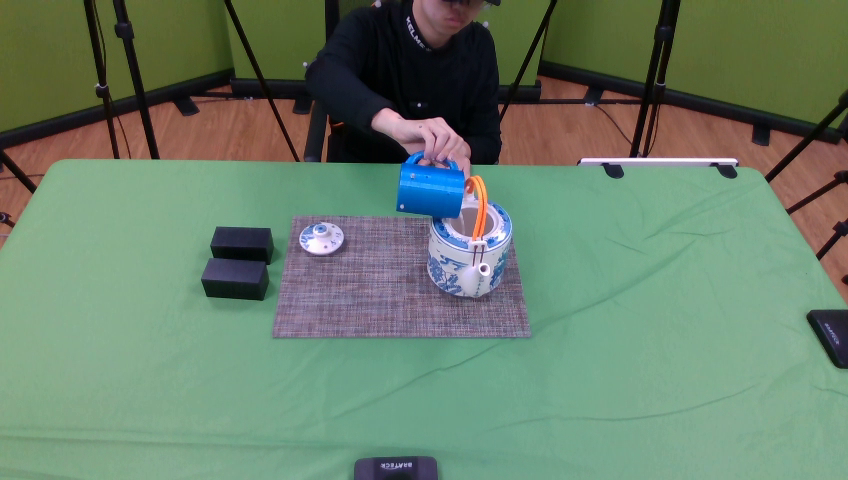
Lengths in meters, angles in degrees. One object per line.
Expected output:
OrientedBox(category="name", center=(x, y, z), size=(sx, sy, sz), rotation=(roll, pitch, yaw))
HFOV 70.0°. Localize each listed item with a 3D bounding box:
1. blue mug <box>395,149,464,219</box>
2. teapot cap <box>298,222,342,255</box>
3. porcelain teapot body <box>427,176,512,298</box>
OrientedBox(category="blue mug", center=(0.010, -0.098, 1.014), size=(0.106, 0.082, 0.116), rotation=(7, 73, -5))
OrientedBox(category="teapot cap", center=(-0.201, -0.008, 1.171), size=(0.085, 0.044, 0.084), rotation=(1, 47, -1))
OrientedBox(category="porcelain teapot body", center=(0.085, 0.009, 1.051), size=(0.145, 0.226, 0.204), rotation=(-5, 47, -8))
